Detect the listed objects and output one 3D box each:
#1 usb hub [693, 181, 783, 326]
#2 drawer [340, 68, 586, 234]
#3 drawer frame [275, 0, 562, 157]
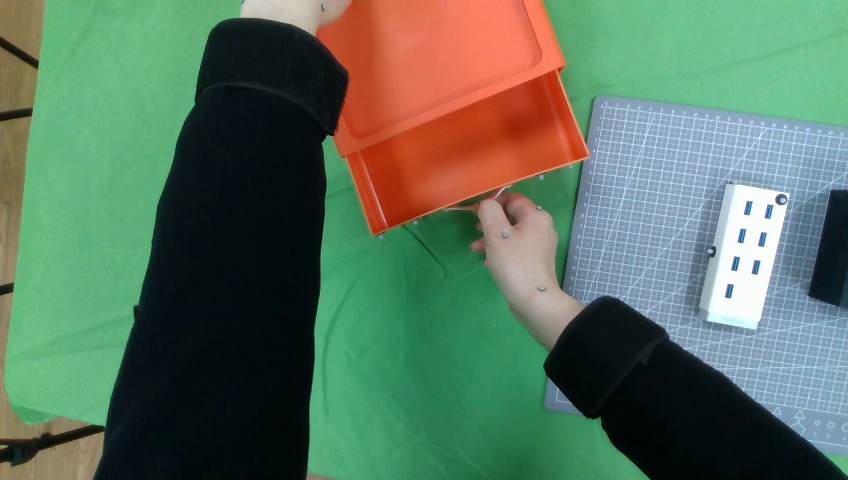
[{"bbox_3d":[0.283,0.012,0.547,0.049,0.025,0.125,10,97,2],"label":"usb hub"},{"bbox_3d":[0.010,-0.134,0.524,0.194,0.073,0.212,-19,95,6],"label":"drawer"},{"bbox_3d":[-0.016,-0.202,0.517,0.201,0.082,0.213,-22,94,6],"label":"drawer frame"}]
